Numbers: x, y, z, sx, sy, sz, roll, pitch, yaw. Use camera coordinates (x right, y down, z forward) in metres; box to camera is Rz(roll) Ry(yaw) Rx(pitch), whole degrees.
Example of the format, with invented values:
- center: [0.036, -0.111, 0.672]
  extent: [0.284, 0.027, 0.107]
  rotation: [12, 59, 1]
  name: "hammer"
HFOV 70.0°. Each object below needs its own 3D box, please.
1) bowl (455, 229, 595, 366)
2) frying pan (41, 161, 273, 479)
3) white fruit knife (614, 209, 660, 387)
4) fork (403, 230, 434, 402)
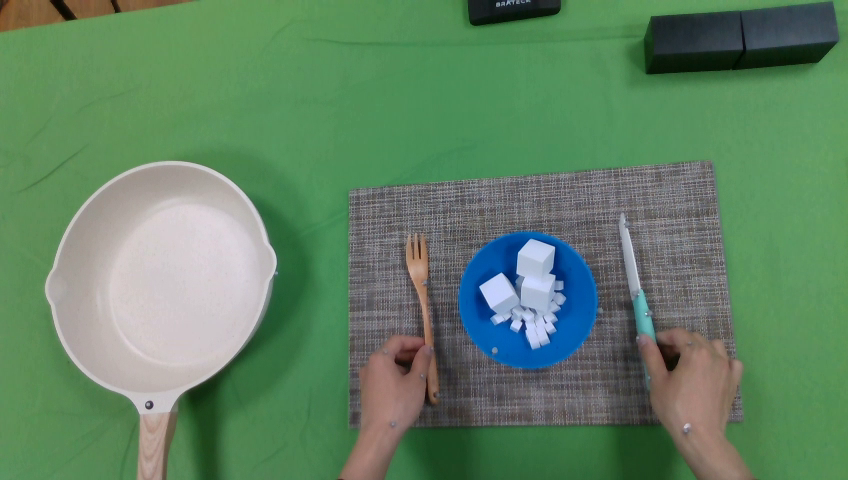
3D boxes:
- center: [0.114, 0.068, 0.690]
  extent: [0.151, 0.077, 0.150]
  rotation: [-2, 79, 9]
  name: "bowl"
- center: [-0.321, 0.145, 0.735]
  extent: [0.306, 0.103, 0.484]
  rotation: [-6, 70, 9]
  name: "frying pan"
- center: [0.242, 0.064, 0.697]
  extent: [0.016, 0.027, 0.206]
  rotation: [-5, 77, -14]
  name: "white fruit knife"
- center: [-0.005, 0.090, 0.730]
  extent: [0.018, 0.028, 0.206]
  rotation: [-18, 74, 38]
  name: "fork"
